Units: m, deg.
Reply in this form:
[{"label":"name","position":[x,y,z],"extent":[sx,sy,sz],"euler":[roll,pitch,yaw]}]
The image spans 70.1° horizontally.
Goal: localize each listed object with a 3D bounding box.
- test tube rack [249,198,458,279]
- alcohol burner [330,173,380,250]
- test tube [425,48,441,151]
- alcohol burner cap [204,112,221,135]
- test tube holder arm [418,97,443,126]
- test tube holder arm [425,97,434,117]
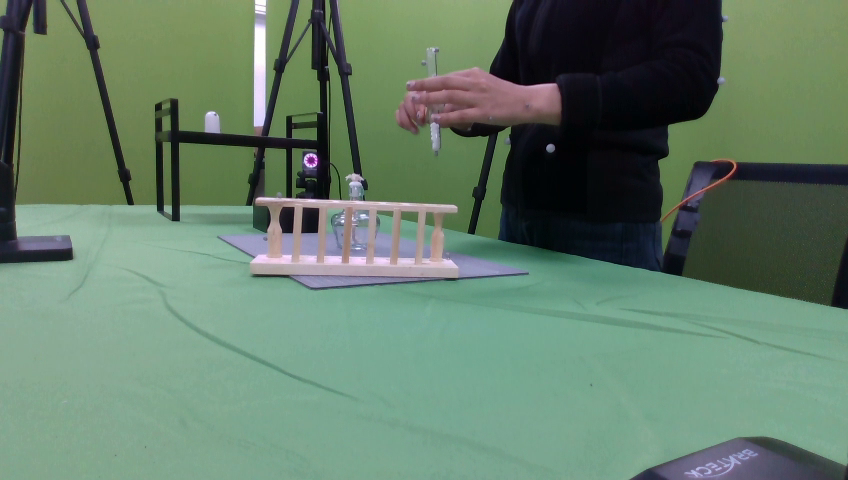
[{"label":"test tube rack","position":[-0.081,-0.002,0.732],"extent":[0.243,0.085,0.066],"euler":[2,8,-7]},{"label":"alcohol burner","position":[-0.108,-0.044,0.938],"extent":[0.078,0.119,0.078],"euler":[1,6,0]},{"label":"test tube","position":[0.014,-0.203,0.872],"extent":[0.017,0.150,0.017],"euler":[-3,-4,0]},{"label":"alcohol burner cap","position":[-0.444,-0.245,1.270],"extent":[0.034,0.048,0.034],"euler":[4,7,0]},{"label":"test tube holder arm","position":[0.009,-0.197,0.941],"extent":[0.013,0.015,0.178],"euler":[0,2,-8]},{"label":"test tube holder arm","position":[0.008,-0.196,0.896],"extent":[0.010,0.015,0.088],"euler":[0,2,-2]}]
